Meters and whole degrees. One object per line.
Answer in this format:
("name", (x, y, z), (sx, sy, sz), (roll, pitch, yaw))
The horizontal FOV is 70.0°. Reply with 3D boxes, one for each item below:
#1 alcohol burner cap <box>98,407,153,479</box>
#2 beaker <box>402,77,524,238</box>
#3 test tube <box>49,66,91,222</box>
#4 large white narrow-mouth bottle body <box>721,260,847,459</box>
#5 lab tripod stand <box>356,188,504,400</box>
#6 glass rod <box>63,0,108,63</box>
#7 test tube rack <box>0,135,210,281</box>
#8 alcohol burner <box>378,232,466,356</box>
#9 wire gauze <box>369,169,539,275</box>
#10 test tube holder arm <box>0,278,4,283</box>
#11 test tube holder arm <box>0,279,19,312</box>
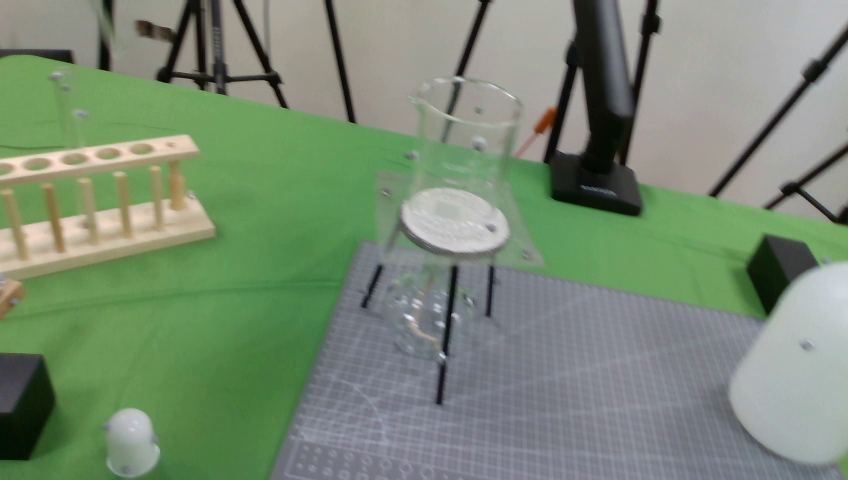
("alcohol burner cap", (-0.201, 0.134, 0.406), (0.034, 0.048, 0.033), (9, 36, -6))
("beaker", (0.022, -0.059, 0.450), (0.084, 0.101, 0.073), (8, 38, -5))
("test tube", (-0.318, -0.082, 0.547), (0.017, 0.151, 0.017), (8, 32, -5))
("large white narrow-mouth bottle body", (0.325, 0.081, 0.485), (0.102, 0.196, 0.101), (7, 36, -4))
("lab tripod stand", (0.012, 0.037, 0.513), (0.149, 0.132, 0.147), (9, 37, -6))
("glass rod", (-0.238, -0.190, 0.355), (0.008, 0.201, 0.008), (-3, 50, 4))
("test tube rack", (-0.331, -0.028, 0.554), (0.243, 0.086, 0.066), (-15, 43, -32))
("alcohol burner", (0.001, 0.042, 0.521), (0.078, 0.120, 0.077), (9, 35, -6))
("wire gauze", (0.018, -0.017, 0.476), (0.122, 0.011, 0.123), (2, 40, -10))
("test tube holder arm", (-0.327, 0.082, 0.379), (0.013, 0.015, 0.177), (13, 35, 3))
("test tube holder arm", (-0.314, 0.059, 0.416), (0.010, 0.015, 0.087), (13, 35, 4))
